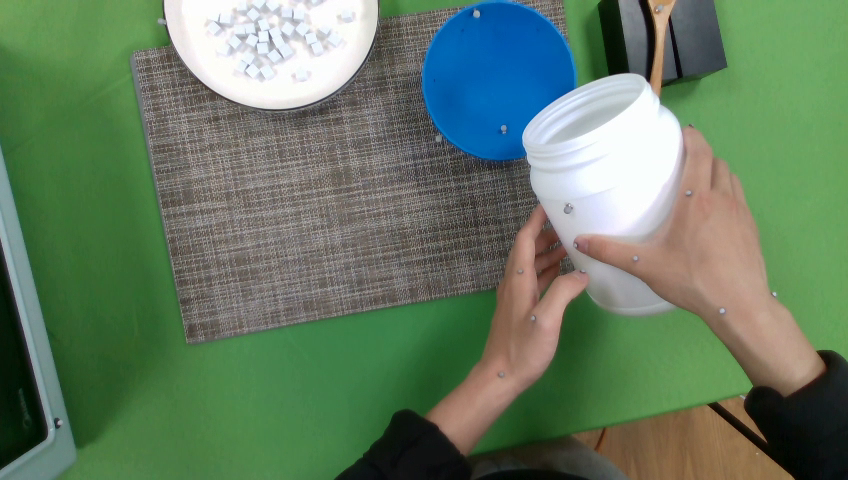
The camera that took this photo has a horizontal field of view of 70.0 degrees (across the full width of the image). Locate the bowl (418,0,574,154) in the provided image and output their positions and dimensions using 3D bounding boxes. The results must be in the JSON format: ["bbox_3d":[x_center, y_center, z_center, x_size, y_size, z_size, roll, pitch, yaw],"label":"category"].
[{"bbox_3d":[0.066,-0.158,0.610,0.151,0.076,0.151,0,93,-6],"label":"bowl"}]

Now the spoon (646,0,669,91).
[{"bbox_3d":[0.232,-0.198,0.613,0.042,0.021,0.194,2,98,-8],"label":"spoon"}]

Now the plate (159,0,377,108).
[{"bbox_3d":[-0.151,-0.232,0.605,0.209,0.038,0.209,0,90,-6],"label":"plate"}]

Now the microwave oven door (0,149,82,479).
[{"bbox_3d":[-0.385,0.051,0.477,0.039,0.243,0.356,-13,94,-5],"label":"microwave oven door"}]

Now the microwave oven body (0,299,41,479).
[{"bbox_3d":[-0.537,0.040,0.466,0.326,0.259,0.442,-13,95,-6],"label":"microwave oven body"}]

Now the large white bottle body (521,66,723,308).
[{"bbox_3d":[0.173,-0.045,0.539,0.130,0.129,0.186,-35,115,-3],"label":"large white bottle body"}]

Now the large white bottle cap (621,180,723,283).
[{"bbox_3d":[0.276,-0.009,0.674,0.115,0.018,0.115,0,93,-7],"label":"large white bottle cap"}]
